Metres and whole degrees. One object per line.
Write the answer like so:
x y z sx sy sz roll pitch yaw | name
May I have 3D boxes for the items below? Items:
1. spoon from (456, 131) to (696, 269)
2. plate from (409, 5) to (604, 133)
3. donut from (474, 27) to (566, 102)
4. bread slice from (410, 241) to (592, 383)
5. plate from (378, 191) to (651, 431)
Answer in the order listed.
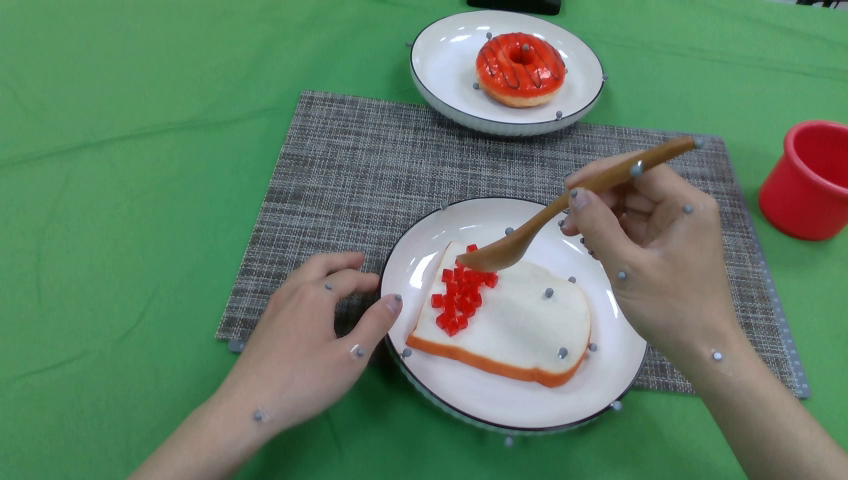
0.083 -0.019 0.379 0.042 0.194 0.021 13 58 -29 | spoon
0.086 -0.181 0.655 0.208 0.039 0.205 3 51 -3 | plate
0.102 -0.186 0.645 0.099 0.048 0.098 3 53 -4 | donut
0.065 0.054 0.475 0.131 0.019 0.104 15 53 9 | bread slice
0.068 0.050 0.474 0.209 0.038 0.207 3 53 -3 | plate
